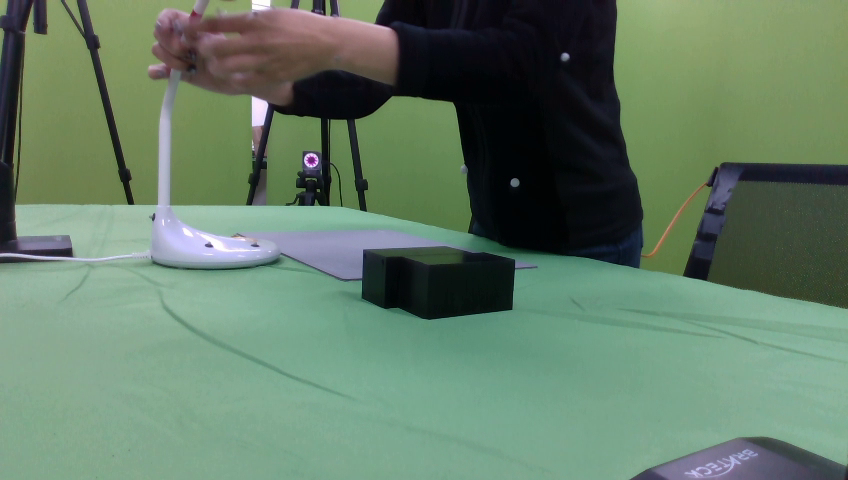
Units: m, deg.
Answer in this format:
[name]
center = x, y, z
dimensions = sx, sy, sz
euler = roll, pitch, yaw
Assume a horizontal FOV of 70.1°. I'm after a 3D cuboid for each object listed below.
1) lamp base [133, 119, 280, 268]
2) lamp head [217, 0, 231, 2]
[lamp base]
center = -0.277, -0.061, 0.771
dimensions = 0.180, 0.180, 0.160
euler = -8, 12, -43
[lamp head]
center = -0.202, -0.298, 0.598
dimensions = 0.112, 0.122, 0.112
euler = 0, -16, 0
